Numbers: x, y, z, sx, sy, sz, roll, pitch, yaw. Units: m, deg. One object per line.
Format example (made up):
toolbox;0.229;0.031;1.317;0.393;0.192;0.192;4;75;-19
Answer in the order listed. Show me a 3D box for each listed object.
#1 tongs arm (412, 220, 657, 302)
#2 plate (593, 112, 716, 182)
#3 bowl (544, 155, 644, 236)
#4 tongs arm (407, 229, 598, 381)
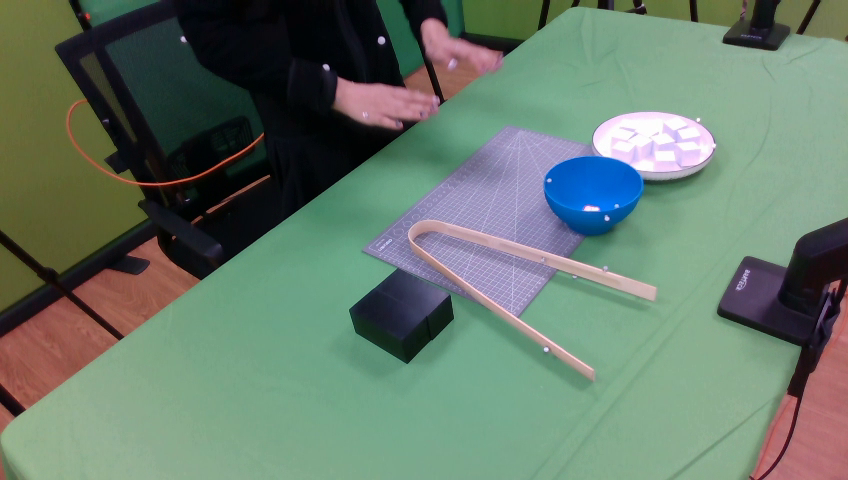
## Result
tongs arm;0.149;0.031;0.906;0.382;0.026;0.051;20;52;30
plate;0.408;-0.163;1.084;0.207;0.039;0.206;-4;40;4
bowl;0.266;-0.061;0.957;0.151;0.077;0.150;-5;40;5
tongs arm;0.092;0.081;0.862;0.028;0.028;0.384;-38;47;-20
